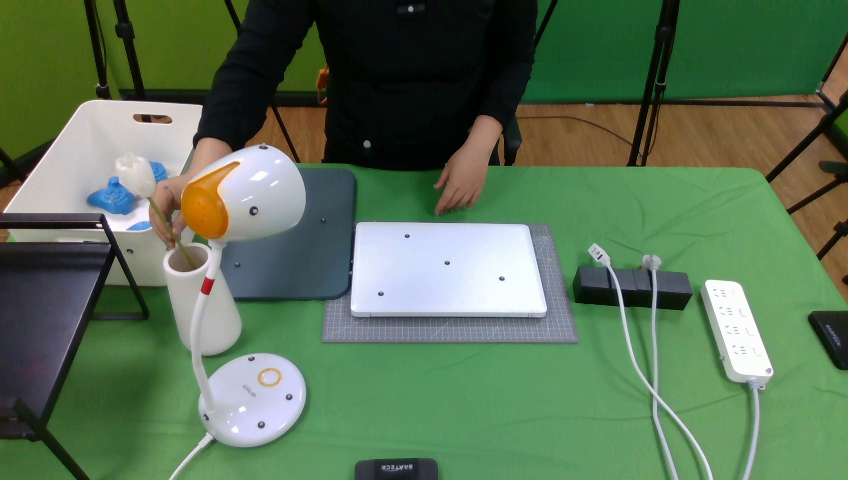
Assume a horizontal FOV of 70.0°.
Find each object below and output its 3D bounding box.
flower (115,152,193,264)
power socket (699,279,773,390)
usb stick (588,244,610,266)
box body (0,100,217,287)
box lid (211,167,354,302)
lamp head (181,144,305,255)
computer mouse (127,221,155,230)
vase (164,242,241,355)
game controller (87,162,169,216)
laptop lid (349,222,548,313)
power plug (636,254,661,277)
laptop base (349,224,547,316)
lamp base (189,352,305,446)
[{"bbox_3d":[-0.356,0.020,0.905,0.044,0.364,0.038,-1,46,9],"label":"flower"},{"bbox_3d":[0.552,0.158,1.080,0.072,0.033,0.225,4,47,1],"label":"power socket"},{"bbox_3d":[0.336,0.026,1.172,0.027,0.021,0.059,32,16,-12],"label":"usb stick"},{"bbox_3d":[-0.560,-0.092,1.144,0.254,0.161,0.361,3,46,-2],"label":"box body"},{"bbox_3d":[-0.276,-0.023,1.205,0.263,0.015,0.369,0,46,-4],"label":"box lid"},{"bbox_3d":[-0.216,-0.043,0.696,0.112,0.113,0.123,23,31,17],"label":"lamp head"},{"bbox_3d":[-0.537,0.009,1.127,0.062,0.041,0.117,31,55,21],"label":"computer mouse"},{"bbox_3d":[-0.349,0.096,0.953,0.098,0.201,0.097,3,47,-3],"label":"vase"},{"bbox_3d":[-0.598,-0.112,1.233,0.097,0.052,0.155,29,52,19],"label":"game controller"},{"bbox_3d":[0.041,0.046,1.143,0.357,0.013,0.240,2,43,-3],"label":"laptop lid"},{"bbox_3d":[0.415,0.051,1.139,0.035,0.053,0.072,46,49,10],"label":"power plug"},{"bbox_3d":[0.041,0.055,1.147,0.355,0.023,0.234,1,41,-4],"label":"laptop base"},{"bbox_3d":[-0.268,0.197,0.876,0.160,0.181,0.179,26,52,20],"label":"lamp base"}]
